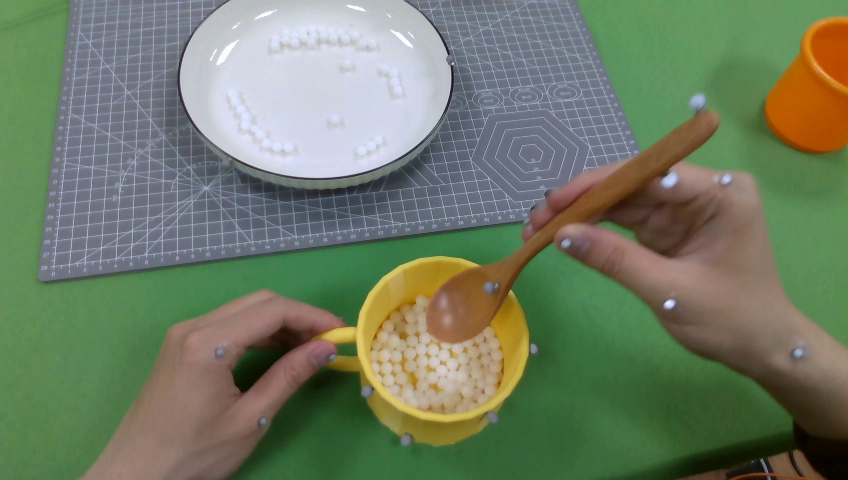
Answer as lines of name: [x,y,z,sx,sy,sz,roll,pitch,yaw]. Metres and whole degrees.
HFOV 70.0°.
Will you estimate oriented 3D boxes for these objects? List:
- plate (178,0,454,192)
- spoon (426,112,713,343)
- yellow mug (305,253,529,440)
plate: [-0.081,-0.121,0.477,0.208,0.039,0.206,2,61,-4]
spoon: [0.059,0.002,0.303,0.022,0.194,0.041,6,56,-33]
yellow mug: [-0.006,0.066,0.370,0.131,0.064,0.099,0,62,-4]
